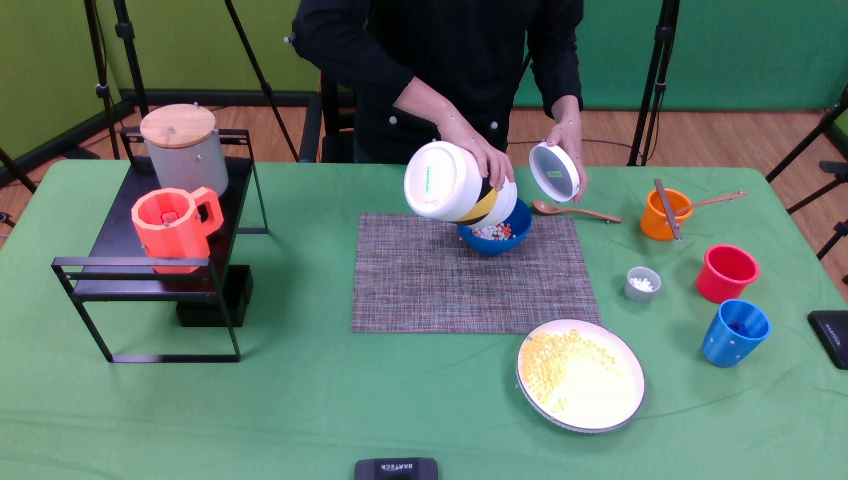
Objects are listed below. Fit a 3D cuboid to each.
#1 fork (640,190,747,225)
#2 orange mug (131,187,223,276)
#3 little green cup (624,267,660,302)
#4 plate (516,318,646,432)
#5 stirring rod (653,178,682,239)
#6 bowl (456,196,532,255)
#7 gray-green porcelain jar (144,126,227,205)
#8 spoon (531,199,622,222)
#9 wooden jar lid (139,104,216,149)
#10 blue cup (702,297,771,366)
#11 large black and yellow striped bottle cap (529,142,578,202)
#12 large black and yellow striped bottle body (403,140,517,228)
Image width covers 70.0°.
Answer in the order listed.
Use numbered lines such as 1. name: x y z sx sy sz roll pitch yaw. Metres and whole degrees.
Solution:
1. fork: 0.533 -0.064 1.211 0.207 0.019 0.028 -22 28 38
2. orange mug: -0.354 -0.022 0.888 0.083 0.101 0.126 31 55 24
3. little green cup: 0.406 0.084 1.135 0.061 0.039 0.061 3 46 -3
4. plate: 0.253 0.221 0.992 0.209 0.038 0.208 2 46 -2
5. stirring rod: 0.481 -0.065 1.204 0.014 0.006 0.175 2 46 -1
6. bowl: 0.130 -0.025 1.186 0.151 0.077 0.150 2 45 -2
7. gray-green porcelain jar: -0.375 -0.126 0.967 0.106 0.127 0.105 2 46 -2
8. spoon: 0.322 -0.060 1.279 0.194 0.022 0.041 8 32 4
9. wooden jar lid: -0.372 -0.169 0.920 0.108 0.021 0.107 4 44 -4
10. blue cup: 0.519 0.162 1.025 0.093 0.101 0.092 3 45 -3
11. large black and yellow striped bottle cap: 0.233 -0.123 1.091 0.019 0.115 0.114 -32 55 -16
12. large black and yellow striped bottle body: 0.068 -0.091 1.055 0.185 0.131 0.130 10 32 -48
